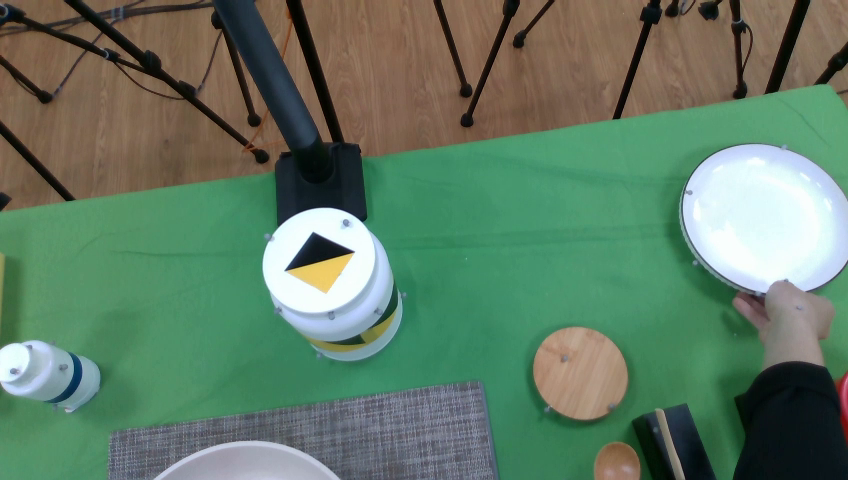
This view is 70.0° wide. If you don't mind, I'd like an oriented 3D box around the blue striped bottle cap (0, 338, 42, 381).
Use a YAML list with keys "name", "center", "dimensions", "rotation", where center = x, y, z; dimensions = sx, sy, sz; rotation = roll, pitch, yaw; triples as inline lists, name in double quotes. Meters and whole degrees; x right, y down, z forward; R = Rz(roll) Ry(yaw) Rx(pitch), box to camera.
- name: "blue striped bottle cap"
  center: [-0.444, 0.130, 0.659]
  dimensions: [0.044, 0.021, 0.044]
  rotation: [-1, 70, 3]

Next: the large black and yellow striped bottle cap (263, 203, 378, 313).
- name: "large black and yellow striped bottle cap"
  center: [-0.104, 0.017, 0.611]
  dimensions: [0.115, 0.019, 0.114]
  rotation: [-1, 69, 4]

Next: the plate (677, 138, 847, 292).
- name: "plate"
  center: [0.423, -0.030, 0.761]
  dimensions: [0.209, 0.038, 0.207]
  rotation: [-2, 68, 4]

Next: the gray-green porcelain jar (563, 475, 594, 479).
- name: "gray-green porcelain jar"
  center: [0.163, 0.290, 0.602]
  dimensions: [0.106, 0.127, 0.105]
  rotation: [-1, 67, 4]

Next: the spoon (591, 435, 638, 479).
- name: "spoon"
  center: [0.164, 0.272, 0.534]
  dimensions: [0.041, 0.022, 0.192]
  rotation: [7, 72, 6]

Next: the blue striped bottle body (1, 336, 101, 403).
- name: "blue striped bottle body"
  center: [-0.439, 0.150, 0.706]
  dimensions: [0.063, 0.122, 0.062]
  rotation: [-1, 67, 4]

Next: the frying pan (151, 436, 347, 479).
- name: "frying pan"
  center: [-0.242, 0.428, 0.578]
  dimensions: [0.305, 0.103, 0.486]
  rotation: [31, 64, 16]

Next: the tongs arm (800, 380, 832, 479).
- name: "tongs arm"
  center: [0.388, 0.333, 0.583]
  dimensions: [0.028, 0.028, 0.385]
  rotation: [1, 79, -1]

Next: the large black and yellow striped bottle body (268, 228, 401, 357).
- name: "large black and yellow striped bottle body"
  center: [-0.099, 0.051, 0.688]
  dimensions: [0.131, 0.185, 0.130]
  rotation: [-1, 67, 4]

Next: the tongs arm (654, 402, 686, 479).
- name: "tongs arm"
  center: [0.306, 0.345, 0.587]
  dimensions: [0.051, 0.026, 0.382]
  rotation: [-13, 78, 0]

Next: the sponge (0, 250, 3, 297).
- name: "sponge"
  center: [-0.617, 0.107, 0.768]
  dimensions: [0.118, 0.061, 0.205]
  rotation: [-13, 68, -2]

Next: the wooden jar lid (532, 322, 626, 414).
- name: "wooden jar lid"
  center: [0.182, 0.151, 0.716]
  dimensions: [0.108, 0.021, 0.107]
  rotation: [-1, 69, 3]
